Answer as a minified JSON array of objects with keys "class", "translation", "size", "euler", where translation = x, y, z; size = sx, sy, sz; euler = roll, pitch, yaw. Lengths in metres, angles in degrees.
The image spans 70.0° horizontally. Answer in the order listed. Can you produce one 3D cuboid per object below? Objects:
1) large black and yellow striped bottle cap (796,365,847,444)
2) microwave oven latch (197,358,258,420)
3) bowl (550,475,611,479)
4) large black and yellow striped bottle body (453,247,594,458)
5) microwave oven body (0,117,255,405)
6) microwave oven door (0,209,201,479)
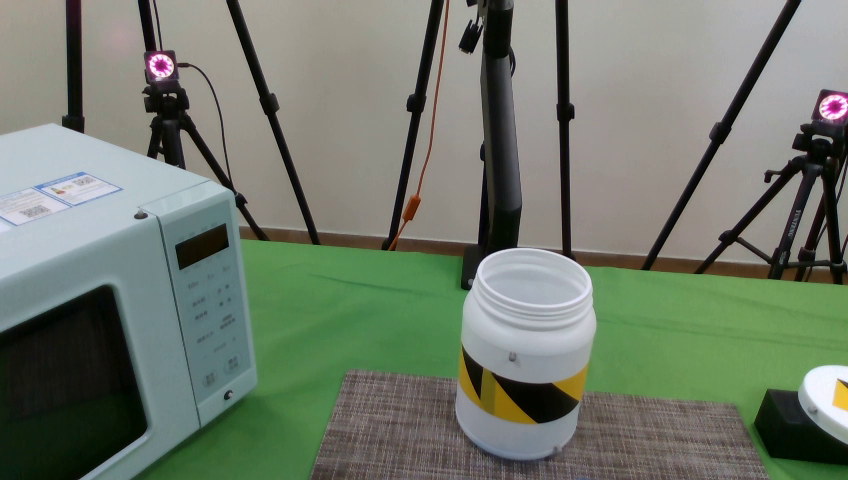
[{"class":"large black and yellow striped bottle cap","translation":[0.445,0.169,0.616],"size":[0.115,0.019,0.114],"euler":[1,28,0]},{"class":"microwave oven latch","translation":[-0.212,0.153,0.641],"size":[0.030,0.030,0.079],"euler":[21,34,29]},{"class":"bowl","translation":[0.128,0.262,0.452],"size":[0.151,0.077,0.150],"euler":[1,28,0]},{"class":"large black and yellow striped bottle body","translation":[0.099,0.112,0.617],"size":[0.131,0.185,0.129],"euler":[2,29,-1]},{"class":"microwave oven body","translation":[-0.430,0.094,0.530],"size":[0.323,0.262,0.441],"euler":[19,34,27]},{"class":"microwave oven door","translation":[-0.331,0.147,0.429],"size":[0.039,0.245,0.355],"euler":[19,33,28]}]
